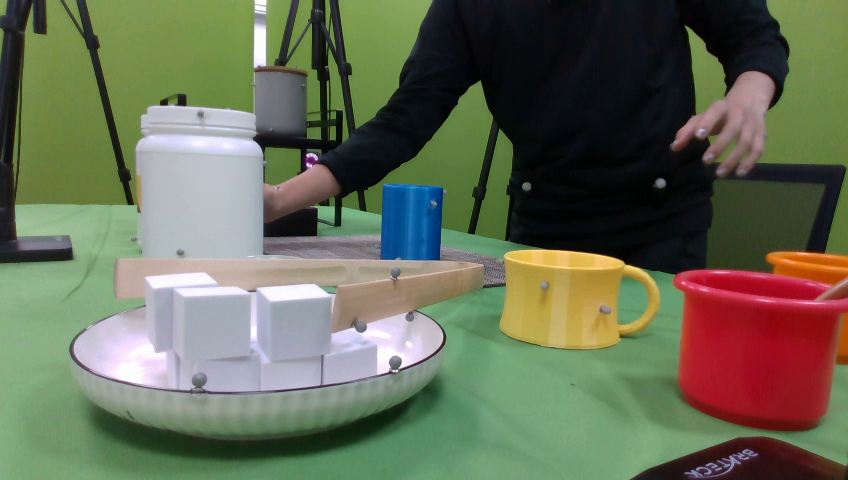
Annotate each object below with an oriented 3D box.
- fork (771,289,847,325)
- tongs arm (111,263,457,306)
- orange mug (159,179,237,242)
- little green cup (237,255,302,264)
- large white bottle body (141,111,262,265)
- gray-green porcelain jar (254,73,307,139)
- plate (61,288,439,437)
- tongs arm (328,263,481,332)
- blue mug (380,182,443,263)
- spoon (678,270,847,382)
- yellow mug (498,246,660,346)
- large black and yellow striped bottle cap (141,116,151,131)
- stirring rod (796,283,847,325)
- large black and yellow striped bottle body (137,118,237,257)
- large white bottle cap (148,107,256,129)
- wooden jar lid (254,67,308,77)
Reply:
[{"bbox_3d":[0.335,0.018,0.443,0.028,0.018,0.207,-1,-36,-20],"label":"fork"},{"bbox_3d":[-0.080,0.033,0.526,0.028,0.027,0.389,-4,-4,33],"label":"tongs arm"},{"bbox_3d":[-0.368,-0.051,0.991,0.127,0.101,0.083,-10,13,-41],"label":"orange mug"},{"bbox_3d":[-0.150,0.038,0.590,0.061,0.038,0.061,3,6,0],"label":"little green cup"},{"bbox_3d":[-0.254,-0.053,0.697,0.131,0.184,0.130,2,7,0],"label":"large white bottle body"},{"bbox_3d":[-0.298,-0.277,1.259,0.106,0.126,0.106,3,7,0],"label":"gray-green porcelain jar"},{"bbox_3d":[-0.095,0.069,0.362,0.208,0.039,0.207,3,7,0],"label":"plate"},{"bbox_3d":[-0.003,0.036,0.492,0.050,0.026,0.386,0,-1,19],"label":"tongs arm"},{"bbox_3d":[-0.019,-0.026,0.833,0.082,0.106,0.116,1,7,-6],"label":"blue mug"},{"bbox_3d":[0.229,0.031,0.338,0.193,0.021,0.042,-44,-16,27],"label":"spoon"},{"bbox_3d":[0.130,0.045,0.508,0.131,0.064,0.100,4,7,6],"label":"yellow mug"},{"bbox_3d":[-0.328,-0.158,0.837,0.115,0.019,0.115,2,6,0],"label":"large black and yellow striped bottle cap"},{"bbox_3d":[0.347,0.019,0.460,0.014,0.176,0.006,-16,59,-25],"label":"stirring rod"},{"bbox_3d":[-0.330,-0.075,0.849,0.131,0.184,0.130,2,8,0],"label":"large black and yellow striped bottle body"},{"bbox_3d":[-0.250,-0.137,0.686,0.115,0.018,0.115,2,8,0],"label":"large white bottle cap"},{"bbox_3d":[-0.296,-0.339,1.251,0.108,0.020,0.108,2,7,0],"label":"wooden jar lid"}]
